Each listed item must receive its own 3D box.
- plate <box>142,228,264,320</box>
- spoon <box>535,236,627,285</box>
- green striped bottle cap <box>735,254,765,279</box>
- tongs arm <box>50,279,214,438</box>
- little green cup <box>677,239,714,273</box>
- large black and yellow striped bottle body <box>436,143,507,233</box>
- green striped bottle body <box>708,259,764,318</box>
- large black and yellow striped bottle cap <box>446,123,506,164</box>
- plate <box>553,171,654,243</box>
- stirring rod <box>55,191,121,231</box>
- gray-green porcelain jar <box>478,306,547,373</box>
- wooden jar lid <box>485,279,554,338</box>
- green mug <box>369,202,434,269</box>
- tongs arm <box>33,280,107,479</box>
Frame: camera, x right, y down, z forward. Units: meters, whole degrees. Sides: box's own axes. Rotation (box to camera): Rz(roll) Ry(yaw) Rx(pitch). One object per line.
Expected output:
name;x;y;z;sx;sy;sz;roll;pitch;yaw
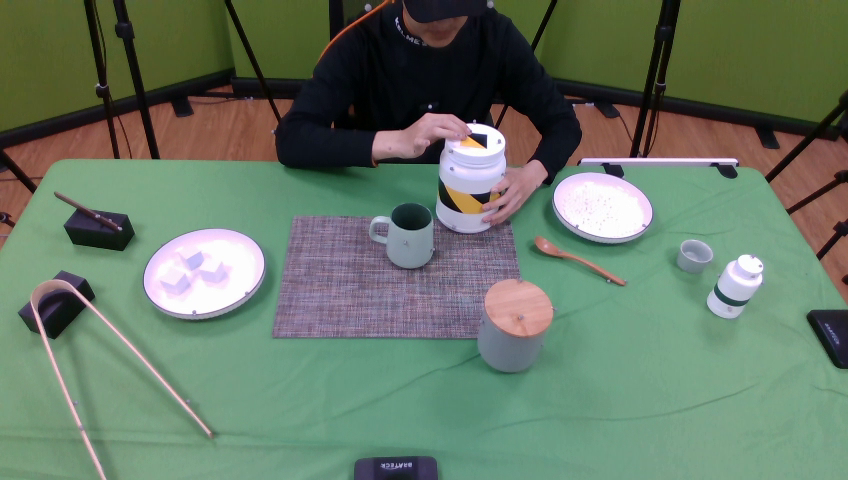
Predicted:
plate;-0.394;0.064;1.095;0.208;0.039;0.206;2;46;-2
spoon;0.304;0.040;1.178;0.193;0.022;0.041;25;33;19
green striped bottle cap;0.566;0.046;1.051;0.044;0.020;0.044;0;45;0
tongs arm;-0.459;0.178;0.949;0.386;0.028;0.028;37;60;17
little green cup;0.530;0.033;1.189;0.061;0.039;0.061;2;48;-2
large black and yellow striped bottle body;0.093;-0.120;1.202;0.131;0.185;0.130;2;42;-1
green striped bottle body;0.563;0.081;1.089;0.063;0.120;0.063;2;46;-2
large black and yellow striped bottle cap;0.098;-0.184;1.143;0.115;0.019;0.114;1;42;0
plate;0.373;-0.066;1.274;0.209;0.038;0.208;2;46;-2
stirring rod;-0.632;-0.055;1.138;0.175;0.014;0.006;24;50;19
gray-green porcelain jar;0.144;0.148;0.989;0.106;0.127;0.105;2;50;-2
wooden jar lid;0.147;0.108;0.940;0.108;0.021;0.107;4;47;-4
green mug;-0.043;-0.010;1.140;0.125;0.105;0.092;8;47;4
tongs arm;-0.517;0.214;0.909;0.051;0.026;0.383;-29;63;-26
